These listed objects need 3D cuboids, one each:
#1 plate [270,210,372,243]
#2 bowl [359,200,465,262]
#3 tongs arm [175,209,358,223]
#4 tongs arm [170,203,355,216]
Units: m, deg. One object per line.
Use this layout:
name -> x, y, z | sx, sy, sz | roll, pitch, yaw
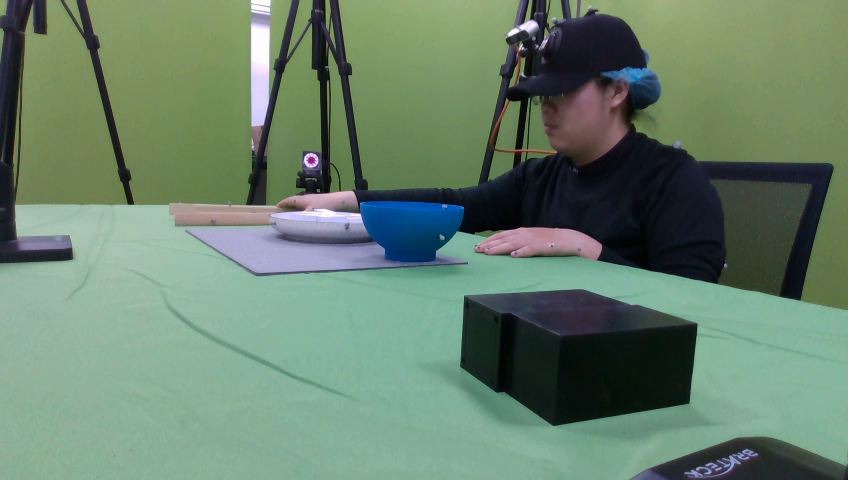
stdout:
plate -> -0.161, -0.023, 1.054 | 0.208, 0.039, 0.207 | 2, 7, 0
bowl -> -0.018, -0.013, 0.859 | 0.151, 0.077, 0.151 | 2, 7, 0
tongs arm -> -0.303, -0.049, 1.238 | 0.390, 0.028, 0.028 | -1, 4, -34
tongs arm -> -0.333, -0.059, 1.295 | 0.387, 0.026, 0.050 | 0, 7, -26
